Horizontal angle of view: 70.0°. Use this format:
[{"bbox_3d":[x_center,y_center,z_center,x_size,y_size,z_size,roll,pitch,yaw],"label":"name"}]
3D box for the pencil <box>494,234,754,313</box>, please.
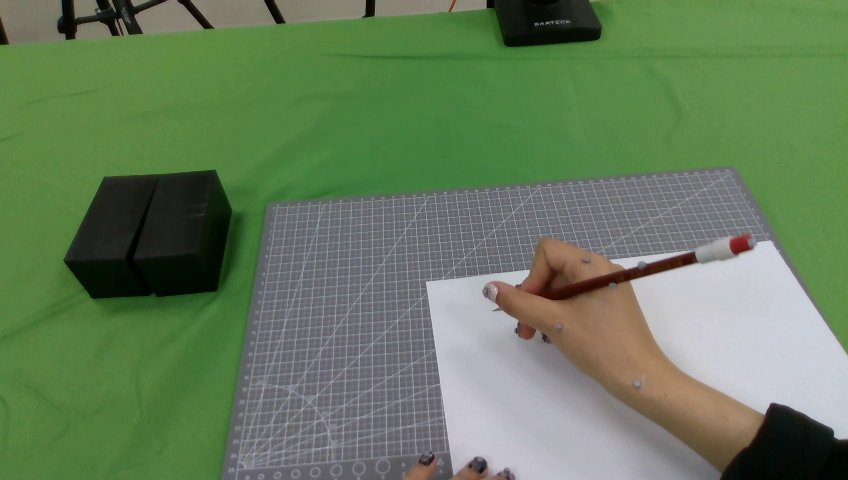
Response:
[{"bbox_3d":[0.111,0.028,0.385,0.012,0.193,0.012,15,65,-34],"label":"pencil"}]
